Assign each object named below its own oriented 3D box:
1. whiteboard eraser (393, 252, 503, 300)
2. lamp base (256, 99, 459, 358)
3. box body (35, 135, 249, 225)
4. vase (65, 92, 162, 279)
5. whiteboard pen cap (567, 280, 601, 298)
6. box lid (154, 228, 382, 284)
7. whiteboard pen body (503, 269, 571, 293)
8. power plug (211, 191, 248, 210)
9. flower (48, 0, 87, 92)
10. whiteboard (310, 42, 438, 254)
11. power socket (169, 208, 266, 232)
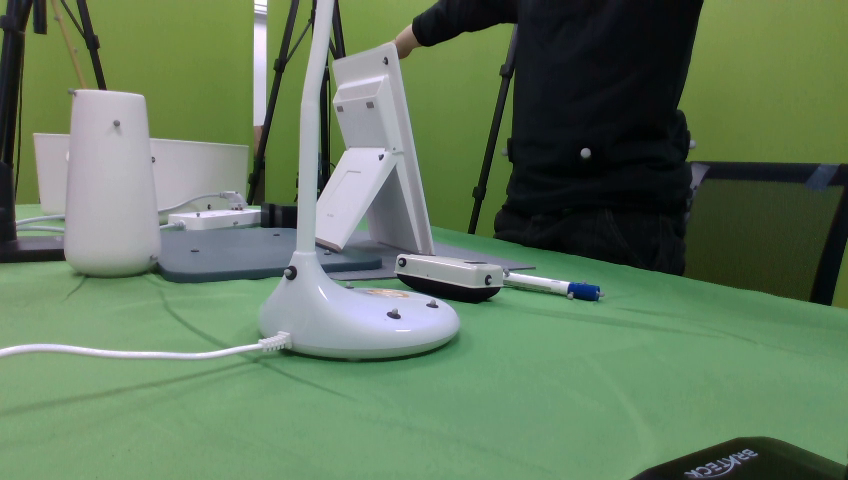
[{"bbox_3d":[0.024,0.037,0.637,0.112,0.042,0.056,8,7,42],"label":"whiteboard eraser"},{"bbox_3d":[-0.055,-0.013,0.463,0.160,0.180,0.180,6,11,27],"label":"lamp base"},{"bbox_3d":[-0.561,-0.127,1.258,0.254,0.160,0.365,4,8,13],"label":"box body"},{"bbox_3d":[-0.347,-0.060,0.672,0.098,0.200,0.098,0,7,0],"label":"vase"},{"bbox_3d":[0.171,0.052,0.648,0.033,0.018,0.018,9,10,31],"label":"whiteboard pen cap"},{"bbox_3d":[-0.250,0.014,0.853,0.265,0.015,0.369,-3,9,-32],"label":"box lid"},{"bbox_3d":[0.123,0.046,0.680,0.140,0.017,0.017,7,9,30],"label":"whiteboard pen body"},{"bbox_3d":[-0.384,-0.071,1.206,0.072,0.052,0.035,1,7,27],"label":"power plug"},{"bbox_3d":[-0.361,-0.141,0.658,0.038,0.361,0.044,-13,11,12],"label":"flower"},{"bbox_3d":[-0.121,-0.112,0.890,0.144,0.305,0.216,-19,17,-26],"label":"whiteboard"},{"bbox_3d":[-0.379,-0.038,1.129,0.072,0.032,0.227,4,8,18],"label":"power socket"}]
